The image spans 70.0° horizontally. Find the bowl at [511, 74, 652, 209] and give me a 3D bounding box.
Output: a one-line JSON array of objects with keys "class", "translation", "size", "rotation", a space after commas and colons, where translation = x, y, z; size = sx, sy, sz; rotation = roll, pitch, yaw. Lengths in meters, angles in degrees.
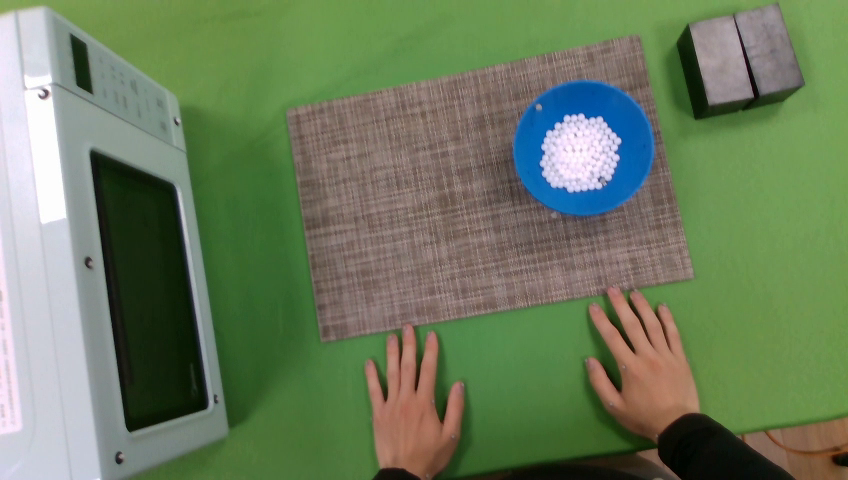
[{"class": "bowl", "translation": [0.174, -0.104, 0.694], "size": [0.151, 0.077, 0.151], "rotation": [-1, 84, 7]}]

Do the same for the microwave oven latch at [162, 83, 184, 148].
[{"class": "microwave oven latch", "translation": [-0.326, -0.154, 0.763], "size": [0.030, 0.029, 0.079], "rotation": [-13, 84, 5]}]

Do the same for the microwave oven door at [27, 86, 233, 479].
[{"class": "microwave oven door", "translation": [-0.297, 0.047, 0.638], "size": [0.039, 0.244, 0.354], "rotation": [-13, 83, 6]}]

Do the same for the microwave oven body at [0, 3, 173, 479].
[{"class": "microwave oven body", "translation": [-0.447, 0.038, 0.661], "size": [0.326, 0.261, 0.440], "rotation": [-12, 83, 5]}]
